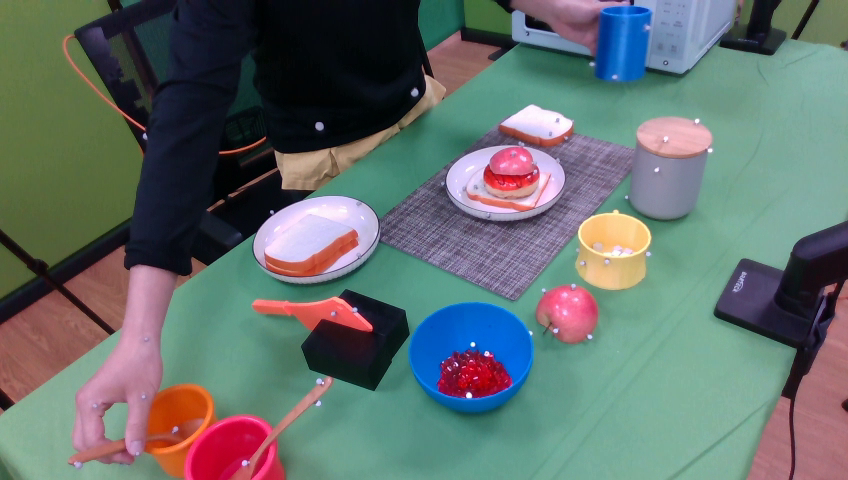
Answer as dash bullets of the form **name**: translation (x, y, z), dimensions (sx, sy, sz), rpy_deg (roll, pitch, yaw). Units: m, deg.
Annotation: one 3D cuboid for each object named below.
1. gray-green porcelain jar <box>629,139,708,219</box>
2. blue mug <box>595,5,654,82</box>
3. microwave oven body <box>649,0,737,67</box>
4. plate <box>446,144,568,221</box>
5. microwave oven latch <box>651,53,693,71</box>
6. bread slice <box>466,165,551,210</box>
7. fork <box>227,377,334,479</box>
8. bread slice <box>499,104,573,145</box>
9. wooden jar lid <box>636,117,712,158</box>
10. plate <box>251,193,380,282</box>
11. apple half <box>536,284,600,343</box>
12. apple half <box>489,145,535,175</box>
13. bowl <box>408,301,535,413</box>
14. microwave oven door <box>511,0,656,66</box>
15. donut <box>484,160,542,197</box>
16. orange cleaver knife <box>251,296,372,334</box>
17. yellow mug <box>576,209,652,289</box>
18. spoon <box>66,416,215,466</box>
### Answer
- **gray-green porcelain jar**: translation (0.383, -0.105, 0.958), dimensions (0.106, 0.127, 0.105), rpy_deg (-4, 41, 4)
- **blue mug**: translation (0.330, -0.334, 1.015), dimensions (0.082, 0.106, 0.116), rpy_deg (-4, 31, 0)
- **microwave oven body**: translation (0.475, -0.602, 1.411), dimensions (0.438, 0.261, 0.327), rpy_deg (23, 50, 32)
- **plate**: translation (0.142, -0.096, 1.045), dimensions (0.207, 0.039, 0.206), rpy_deg (-4, 40, 4)
- **microwave oven latch**: translation (0.533, -0.387, 1.301), dimensions (0.078, 0.029, 0.030), rpy_deg (29, 53, 35)
- **bread slice**: translation (0.141, -0.093, 1.042), dimensions (0.133, 0.018, 0.107), rpy_deg (9, 42, 20)
- **fork**: translation (-0.162, 0.216, 0.647), dimensions (0.207, 0.019, 0.028), rpy_deg (-49, 41, 16)
- **bread slice**: translation (0.231, -0.231, 1.205), dimensions (0.105, 0.019, 0.130), rpy_deg (-36, 47, -29)
- **wooden jar lid**: translation (0.377, -0.151, 0.917), dimensions (0.108, 0.021, 0.108), rpy_deg (-2, 42, 3)
- **plate**: translation (-0.173, -0.001, 0.985), dimensions (0.209, 0.038, 0.208), rpy_deg (-4, 41, 4)
- **apple half**: translation (0.196, 0.091, 0.815), dimensions (0.075, 0.053, 0.080), rpy_deg (-22, 42, -20)
- **apple half**: translation (0.145, -0.138, 0.995), dimensions (0.081, 0.033, 0.081), rpy_deg (-2, 34, 2)
- **bowl**: translation (0.060, 0.156, 0.739), dimensions (0.151, 0.077, 0.150), rpy_deg (-4, 40, 4)
- **microwave oven door**: translation (0.351, -0.539, 1.348), dimensions (0.353, 0.245, 0.039), rpy_deg (24, 50, 31)
- **donut**: translation (0.149, -0.110, 1.016), dimensions (0.099, 0.048, 0.098), rpy_deg (-4, 41, 4)
- **orange cleaver knife**: translation (-0.158, 0.103, 0.828), dimensions (0.210, 0.077, 0.012), rpy_deg (-3, 41, 39)
- **yellow mug**: translation (0.279, 0.004, 0.893), dimensions (0.099, 0.064, 0.130), rpy_deg (6, 42, 14)
- **spoon**: translation (-0.300, 0.216, 0.658), dimensions (0.041, 0.195, 0.021), rpy_deg (31, 93, 22)
